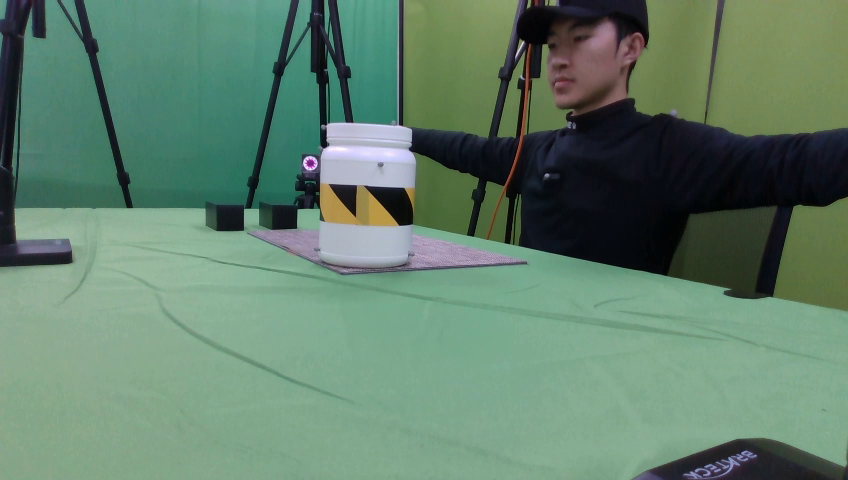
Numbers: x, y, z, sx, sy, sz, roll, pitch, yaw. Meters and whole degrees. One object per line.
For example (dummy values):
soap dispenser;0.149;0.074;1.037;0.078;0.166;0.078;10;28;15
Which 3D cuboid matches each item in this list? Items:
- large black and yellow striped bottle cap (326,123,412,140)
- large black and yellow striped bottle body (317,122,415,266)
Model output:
large black and yellow striped bottle cap;-0.074;-0.145;0.812;0.115;0.019;0.115;1;7;0
large black and yellow striped bottle body;-0.078;-0.063;0.824;0.131;0.184;0.130;2;7;0
